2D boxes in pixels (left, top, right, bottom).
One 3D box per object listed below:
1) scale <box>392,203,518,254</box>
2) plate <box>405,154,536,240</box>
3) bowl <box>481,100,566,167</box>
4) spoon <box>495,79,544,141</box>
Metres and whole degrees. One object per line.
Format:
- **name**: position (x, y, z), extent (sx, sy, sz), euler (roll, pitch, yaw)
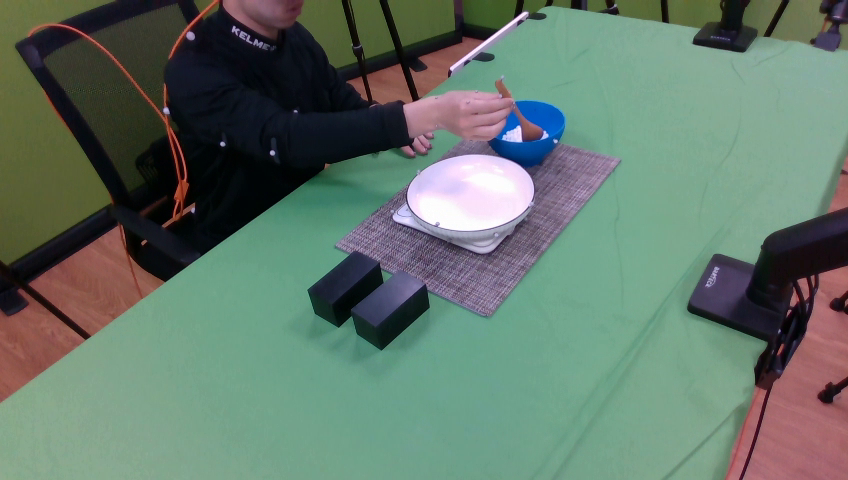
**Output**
- **scale**: position (0.061, -0.050, 1.006), extent (0.199, 0.032, 0.149), euler (22, 48, 30)
- **plate**: position (0.075, -0.067, 0.973), extent (0.209, 0.038, 0.208), euler (-4, 41, 4)
- **bowl**: position (0.183, -0.186, 1.111), extent (0.151, 0.077, 0.150), euler (-4, 41, 4)
- **spoon**: position (0.156, -0.211, 1.007), extent (0.041, 0.195, 0.021), euler (-31, 54, 17)
